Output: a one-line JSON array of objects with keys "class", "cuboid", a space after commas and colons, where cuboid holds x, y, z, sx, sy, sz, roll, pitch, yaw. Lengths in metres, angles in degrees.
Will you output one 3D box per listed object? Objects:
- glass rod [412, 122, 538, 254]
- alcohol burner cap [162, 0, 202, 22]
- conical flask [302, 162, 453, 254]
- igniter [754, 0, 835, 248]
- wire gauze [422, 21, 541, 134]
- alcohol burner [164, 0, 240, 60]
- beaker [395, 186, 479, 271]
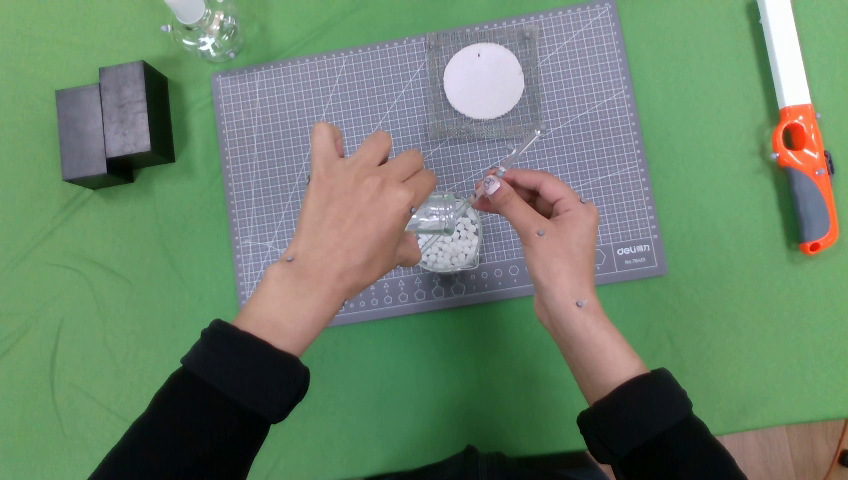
[{"class": "glass rod", "cuboid": [0.035, -0.036, 0.514, 0.008, 0.200, 0.008, 16, 54, -23]}, {"class": "alcohol burner cap", "cuboid": [-0.244, -0.241, 0.595, 0.034, 0.048, 0.033, -1, 78, 5]}, {"class": "conical flask", "cuboid": [-0.038, -0.025, 0.502, 0.122, 0.075, 0.075, 1, 84, -9]}, {"class": "igniter", "cuboid": [0.372, -0.130, 0.612, 0.057, 0.025, 0.276, -7, 84, -5]}, {"class": "wire gauze", "cuboid": [0.061, -0.173, 0.650, 0.125, 0.011, 0.121, -1, 85, 2]}, {"class": "alcohol burner", "cuboid": [-0.240, -0.236, 0.630, 0.078, 0.119, 0.078, 0, 86, 7]}, {"class": "beaker", "cuboid": [0.019, -0.005, 0.593, 0.074, 0.100, 0.084, -45, 83, 0]}]
